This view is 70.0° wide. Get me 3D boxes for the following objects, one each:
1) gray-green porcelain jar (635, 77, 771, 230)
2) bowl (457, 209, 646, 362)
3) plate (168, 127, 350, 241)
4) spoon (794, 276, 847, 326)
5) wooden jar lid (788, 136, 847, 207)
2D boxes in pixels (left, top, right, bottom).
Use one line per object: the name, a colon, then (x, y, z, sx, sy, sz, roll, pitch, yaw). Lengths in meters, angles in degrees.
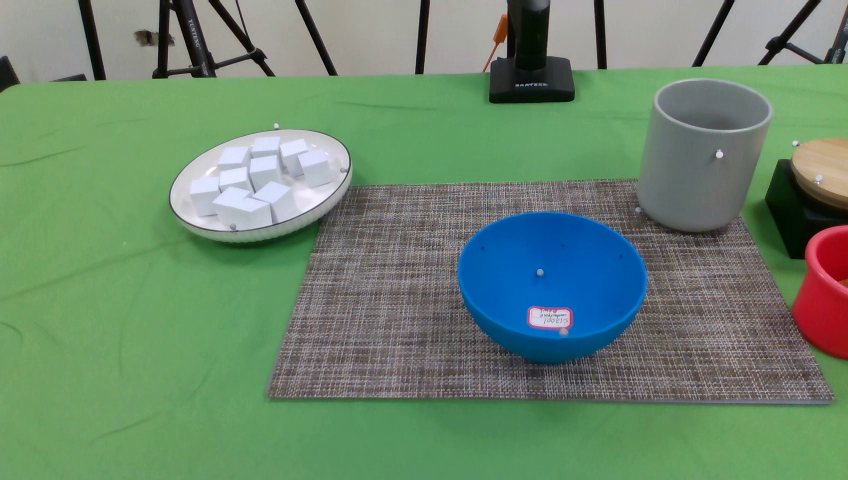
gray-green porcelain jar: (0.272, -0.082, 0.608, 0.106, 0.128, 0.105, -3, 41, 3)
bowl: (0.103, 0.050, 0.511, 0.151, 0.077, 0.150, -3, 41, 3)
plate: (-0.187, -0.064, 0.707, 0.209, 0.038, 0.207, -4, 41, 4)
spoon: (0.390, 0.009, 0.482, 0.022, 0.194, 0.041, 34, 27, -25)
wooden jar lid: (0.410, -0.065, 0.584, 0.108, 0.021, 0.107, -4, 40, 3)
